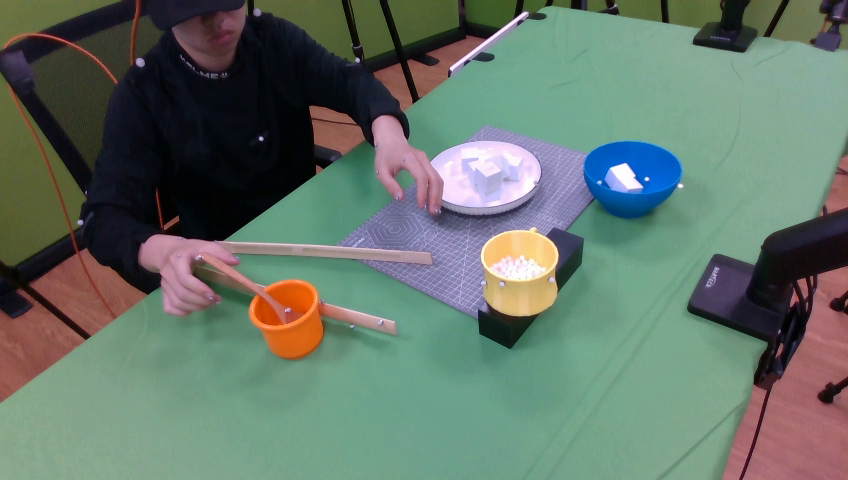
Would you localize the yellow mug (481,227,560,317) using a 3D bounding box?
[{"bbox_3d":[0.131,0.032,0.801,0.099,0.064,0.131,11,43,20],"label":"yellow mug"}]

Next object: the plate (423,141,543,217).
[{"bbox_3d":[0.103,-0.104,1.059,0.207,0.039,0.206,-4,41,4],"label":"plate"}]

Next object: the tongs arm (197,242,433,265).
[{"bbox_3d":[-0.177,0.024,0.960,0.386,0.028,0.028,2,45,12],"label":"tongs arm"}]

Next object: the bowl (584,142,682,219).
[{"bbox_3d":[0.333,-0.087,0.980,0.151,0.077,0.150,-4,40,3],"label":"bowl"}]

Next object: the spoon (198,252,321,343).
[{"bbox_3d":[-0.220,0.075,0.814,0.021,0.194,0.041,-34,20,43],"label":"spoon"}]

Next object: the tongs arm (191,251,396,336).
[{"bbox_3d":[-0.204,0.074,0.902,0.382,0.026,0.051,11,44,22],"label":"tongs arm"}]
